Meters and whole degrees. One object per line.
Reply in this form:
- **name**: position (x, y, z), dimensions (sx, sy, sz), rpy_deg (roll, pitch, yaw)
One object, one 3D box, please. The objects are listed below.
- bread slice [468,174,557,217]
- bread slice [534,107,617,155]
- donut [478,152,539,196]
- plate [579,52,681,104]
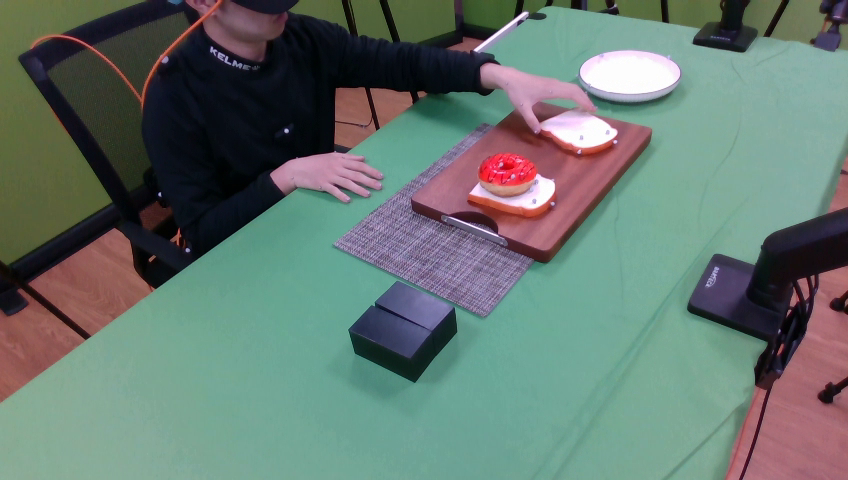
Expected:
- **bread slice**: position (0.154, -0.083, 1.004), dimensions (0.130, 0.019, 0.105), rpy_deg (19, 48, 29)
- **bread slice**: position (0.289, -0.201, 1.120), dimensions (0.107, 0.018, 0.133), rpy_deg (-27, 44, -21)
- **donut**: position (0.138, -0.109, 0.991), dimensions (0.099, 0.048, 0.098), rpy_deg (-4, 38, 3)
- **plate**: position (0.437, -0.343, 1.294), dimensions (0.209, 0.038, 0.208), rpy_deg (-4, 40, 4)
